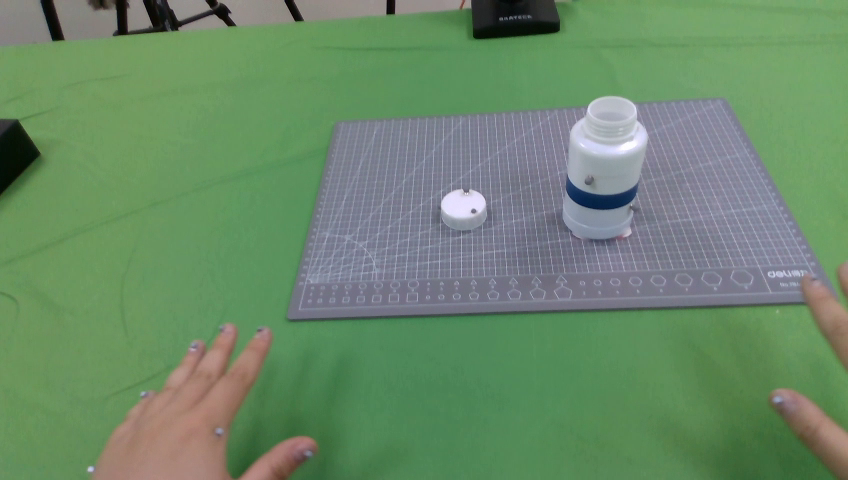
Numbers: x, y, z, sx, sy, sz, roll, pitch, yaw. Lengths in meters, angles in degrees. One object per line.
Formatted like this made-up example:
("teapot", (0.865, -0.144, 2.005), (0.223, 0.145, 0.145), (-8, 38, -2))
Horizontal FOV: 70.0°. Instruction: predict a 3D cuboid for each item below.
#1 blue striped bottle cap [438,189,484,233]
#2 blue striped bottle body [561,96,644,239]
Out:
("blue striped bottle cap", (0.036, -0.028, 0.583), (0.044, 0.021, 0.044), (-3, 44, 3))
("blue striped bottle body", (0.154, -0.063, 0.526), (0.063, 0.122, 0.062), (-4, 45, 4))
